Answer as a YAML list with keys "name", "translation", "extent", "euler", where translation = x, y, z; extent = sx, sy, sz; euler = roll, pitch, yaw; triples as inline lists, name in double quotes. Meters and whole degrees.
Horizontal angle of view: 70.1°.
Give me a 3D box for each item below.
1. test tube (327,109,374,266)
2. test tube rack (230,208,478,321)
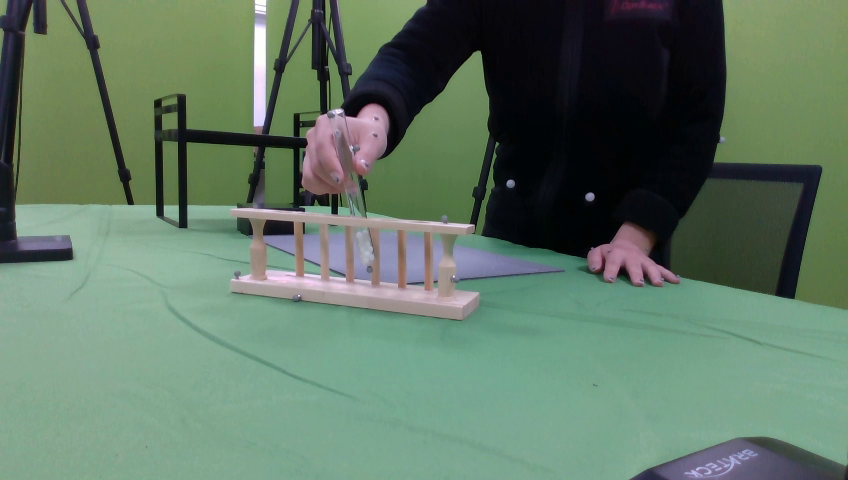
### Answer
- name: "test tube"
  translation: [-0.068, -0.049, 0.571]
  extent: [0.017, 0.150, 0.017]
  euler: [-12, 6, 1]
- name: "test tube rack"
  translation: [-0.069, 0.018, 0.598]
  extent: [0.242, 0.085, 0.067]
  euler: [5, 7, 18]
